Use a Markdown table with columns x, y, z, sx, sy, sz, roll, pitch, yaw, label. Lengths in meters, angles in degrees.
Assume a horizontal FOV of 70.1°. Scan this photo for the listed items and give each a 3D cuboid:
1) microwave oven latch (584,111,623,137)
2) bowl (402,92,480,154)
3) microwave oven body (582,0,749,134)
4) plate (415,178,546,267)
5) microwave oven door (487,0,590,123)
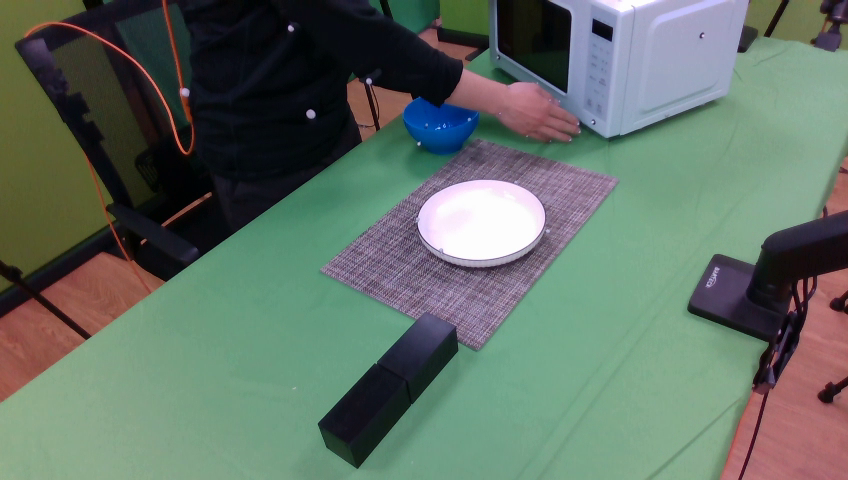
| x | y | z | sx | sy | sz | roll | pitch | yaw | label |
| --- | --- | --- | --- | --- | --- | --- | --- | --- | --- |
| 0.337 | -0.222 | 1.142 | 0.030 | 0.029 | 0.078 | -21 | 42 | -14 | microwave oven latch |
| 0.036 | -0.220 | 1.179 | 0.151 | 0.077 | 0.150 | -4 | 40 | 4 | bowl |
| 0.382 | -0.444 | 1.246 | 0.327 | 0.261 | 0.437 | -22 | 42 | -16 | microwave oven body |
| 0.091 | -0.026 | 0.970 | 0.207 | 0.039 | 0.206 | -4 | 41 | 4 | plate |
| 0.231 | -0.419 | 1.231 | 0.039 | 0.245 | 0.352 | -22 | 43 | -16 | microwave oven door |
